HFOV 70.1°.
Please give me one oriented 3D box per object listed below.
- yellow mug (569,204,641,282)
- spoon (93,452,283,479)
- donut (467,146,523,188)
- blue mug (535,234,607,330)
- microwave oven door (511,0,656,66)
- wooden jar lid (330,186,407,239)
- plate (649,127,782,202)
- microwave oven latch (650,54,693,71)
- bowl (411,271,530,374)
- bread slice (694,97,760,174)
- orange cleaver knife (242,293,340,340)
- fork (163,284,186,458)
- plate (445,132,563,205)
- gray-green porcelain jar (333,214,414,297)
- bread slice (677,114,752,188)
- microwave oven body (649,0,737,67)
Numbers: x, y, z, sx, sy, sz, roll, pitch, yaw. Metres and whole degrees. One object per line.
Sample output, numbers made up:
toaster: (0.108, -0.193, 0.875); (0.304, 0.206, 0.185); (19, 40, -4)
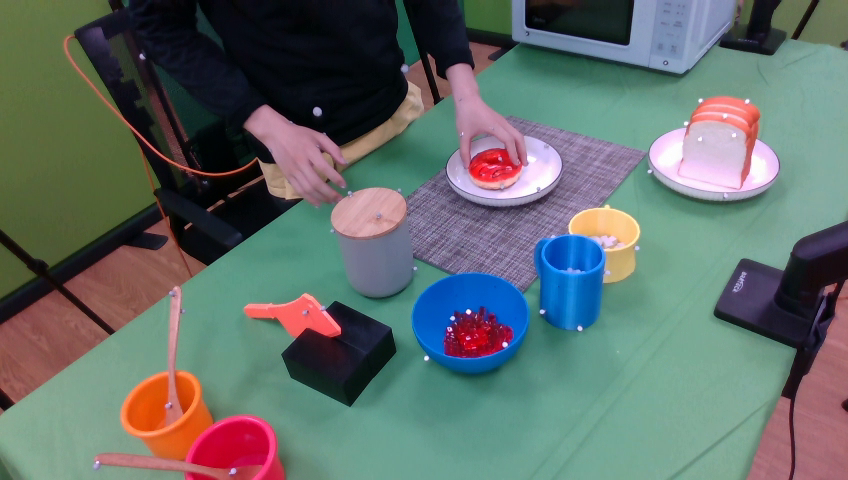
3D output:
yellow mug: (0.268, -0.005, 0.904); (0.099, 0.064, 0.130); (7, 41, 15)
spoon: (-0.240, 0.239, 0.632); (0.195, 0.021, 0.041); (26, 34, -32)
donut: (0.125, -0.131, 1.070); (0.099, 0.048, 0.098); (-4, 40, 4)
blue mug: (0.191, 0.048, 0.824); (0.082, 0.106, 0.115); (-26, 44, -20)
microwave oven door: (0.350, -0.539, 1.349); (0.353, 0.245, 0.039); (24, 50, 31)
wooden jar lid: (-0.077, -0.035, 0.846); (0.108, 0.021, 0.108); (-5, 41, 5)
plate: (0.493, -0.127, 1.036); (0.207, 0.039, 0.206); (-4, 41, 4)
microwave oven latch: (0.531, -0.386, 1.301); (0.078, 0.029, 0.030); (26, 51, 33)
bowl: (0.062, 0.120, 0.780); (0.151, 0.077, 0.150); (-4, 40, 4)
bread slice: (0.497, -0.173, 1.004); (0.106, 0.135, 0.018); (23, 51, 26)
orange cleaver knife: (-0.186, 0.107, 0.827); (0.210, 0.077, 0.012); (-9, 29, 48)
fork: (-0.302, 0.157, 0.733); (0.028, 0.019, 0.207); (-3, 84, 15)
plate: (0.142, -0.123, 1.076); (0.209, 0.038, 0.208); (-4, 41, 4)
gray-green porcelain jar: (-0.071, 0.012, 0.887); (0.106, 0.127, 0.105); (-4, 41, 4)
bread slice: (0.467, -0.144, 0.976); (0.104, 0.132, 0.019); (18, 55, 30)
microwave oven body: (0.475, -0.602, 1.411); (0.438, 0.261, 0.327); (23, 50, 32)
